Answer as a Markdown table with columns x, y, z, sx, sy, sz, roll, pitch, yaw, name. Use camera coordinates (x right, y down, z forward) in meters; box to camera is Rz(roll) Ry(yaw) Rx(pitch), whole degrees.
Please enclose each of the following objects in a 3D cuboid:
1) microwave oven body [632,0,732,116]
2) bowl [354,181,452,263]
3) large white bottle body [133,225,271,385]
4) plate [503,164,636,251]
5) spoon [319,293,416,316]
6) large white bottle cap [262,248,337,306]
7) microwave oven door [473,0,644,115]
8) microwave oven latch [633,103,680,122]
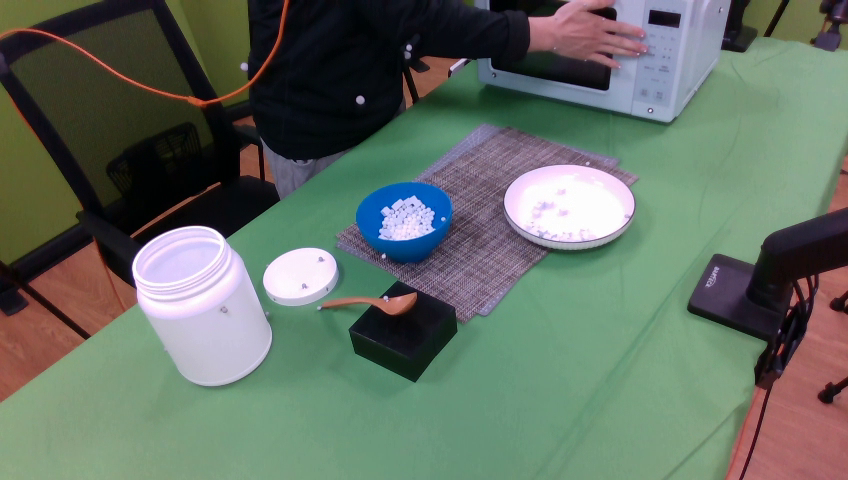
| x | y | z | sx | sy | sz | roll | pitch | yaw | name |
| --- | --- | --- | --- | --- | --- | --- | --- | --- | --- |
| 0.377 | -0.463 | 1.267 | 0.438 | 0.261 | 0.327 | 21 | 49 | 30 | microwave oven body |
| -0.028 | -0.017 | 0.943 | 0.151 | 0.077 | 0.150 | -4 | 40 | 4 | bowl |
| -0.285 | 0.084 | 0.784 | 0.130 | 0.185 | 0.130 | -4 | 41 | 4 | large white bottle body |
| 0.232 | -0.051 | 0.977 | 0.209 | 0.038 | 0.208 | -3 | 41 | 3 | plate |
| -0.082 | 0.086 | 0.827 | 0.192 | 0.022 | 0.041 | -3 | 38 | 41 | spoon |
| -0.193 | 0.056 | 0.934 | 0.115 | 0.018 | 0.114 | -4 | 41 | 4 | large white bottle cap |
| 0.257 | -0.396 | 1.199 | 0.353 | 0.245 | 0.039 | 21 | 48 | 29 | microwave oven door |
| 0.443 | -0.249 | 1.158 | 0.078 | 0.029 | 0.030 | 21 | 49 | 30 | microwave oven latch |
